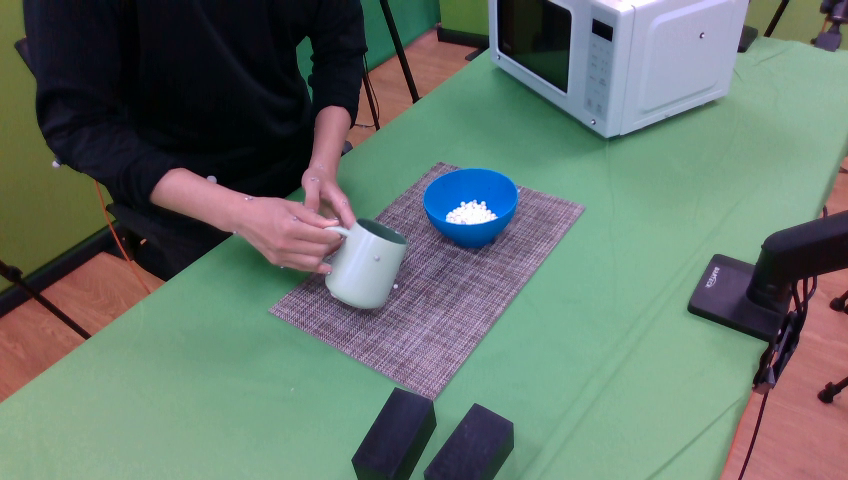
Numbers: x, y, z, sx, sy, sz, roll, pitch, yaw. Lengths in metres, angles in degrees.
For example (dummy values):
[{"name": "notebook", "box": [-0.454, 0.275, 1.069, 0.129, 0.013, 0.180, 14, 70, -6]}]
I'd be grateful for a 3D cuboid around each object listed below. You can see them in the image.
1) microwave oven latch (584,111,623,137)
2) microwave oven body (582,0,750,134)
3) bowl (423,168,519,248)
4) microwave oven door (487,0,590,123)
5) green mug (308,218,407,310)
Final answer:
[{"name": "microwave oven latch", "box": [0.337, -0.222, 1.142, 0.030, 0.029, 0.078, -21, 42, -14]}, {"name": "microwave oven body", "box": [0.382, -0.444, 1.246, 0.327, 0.261, 0.437, -22, 42, -16]}, {"name": "bowl", "box": [0.076, -0.041, 0.958, 0.151, 0.077, 0.150, -4, 40, 4]}, {"name": "microwave oven door", "box": [0.232, -0.420, 1.230, 0.039, 0.245, 0.352, -22, 43, -16]}, {"name": "green mug", "box": [-0.095, 0.028, 0.824, 0.126, 0.105, 0.092, 21, 14, -19]}]
